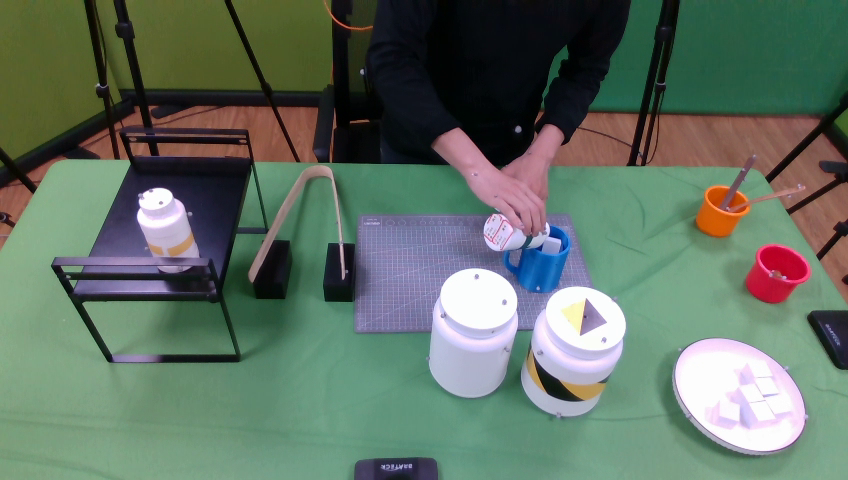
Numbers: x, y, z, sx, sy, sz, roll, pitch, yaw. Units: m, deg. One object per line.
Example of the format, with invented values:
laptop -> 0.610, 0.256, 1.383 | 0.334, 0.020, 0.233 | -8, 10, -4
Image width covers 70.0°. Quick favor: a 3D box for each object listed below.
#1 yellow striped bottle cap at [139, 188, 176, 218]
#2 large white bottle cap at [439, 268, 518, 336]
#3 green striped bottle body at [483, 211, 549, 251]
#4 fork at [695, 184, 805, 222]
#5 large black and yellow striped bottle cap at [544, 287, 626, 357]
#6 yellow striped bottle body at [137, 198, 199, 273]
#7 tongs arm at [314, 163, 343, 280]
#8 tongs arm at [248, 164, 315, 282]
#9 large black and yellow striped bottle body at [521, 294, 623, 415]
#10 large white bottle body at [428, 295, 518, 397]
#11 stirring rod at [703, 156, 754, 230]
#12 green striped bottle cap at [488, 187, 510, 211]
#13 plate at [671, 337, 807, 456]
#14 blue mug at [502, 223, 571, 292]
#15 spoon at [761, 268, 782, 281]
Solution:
yellow striped bottle cap -> -0.363, -0.051, 0.826 | 0.044, 0.019, 0.044 | 1, 48, -1
large white bottle cap -> 0.080, 0.089, 0.888 | 0.115, 0.018, 0.114 | 2, 47, -2
green striped bottle body -> 0.162, -0.016, 1.031 | 0.119, 0.063, 0.063 | -6, 43, -41
fork -> 0.657, -0.075, 1.230 | 0.207, 0.019, 0.028 | -23, 34, 37
large black and yellow striped bottle cap -> 0.232, 0.116, 0.876 | 0.115, 0.019, 0.114 | 2, 46, -1
yellow striped bottle body -> -0.366, -0.014, 0.864 | 0.063, 0.121, 0.062 | 2, 46, -2
tongs arm -> -0.188, -0.049, 1.170 | 0.051, 0.026, 0.382 | -6, 35, -6
tongs arm -> -0.270, -0.047, 1.165 | 0.028, 0.028, 0.385 | -1, 34, 7
large black and yellow striped bottle body -> 0.228, 0.173, 0.938 | 0.131, 0.185, 0.130 | 2, 47, -2
large white bottle body -> 0.075, 0.147, 0.950 | 0.131, 0.185, 0.130 | 2, 46, -2
stirring rod -> 0.631, -0.097, 1.258 | 0.014, 0.006, 0.176 | 33, 95, 28
green striped bottle cap -> 0.144, -0.080, 1.166 | 0.044, 0.020, 0.044 | 26, 47, -30
plate -> 0.503, 0.254, 0.984 | 0.208, 0.039, 0.206 | 2, 46, -2
blue mug -> 0.202, 0.031, 1.121 | 0.116, 0.106, 0.082 | 5, 47, 1
spoon -> 0.638, 0.060, 1.105 | 0.041, 0.021, 0.194 | 38, 11, 24
